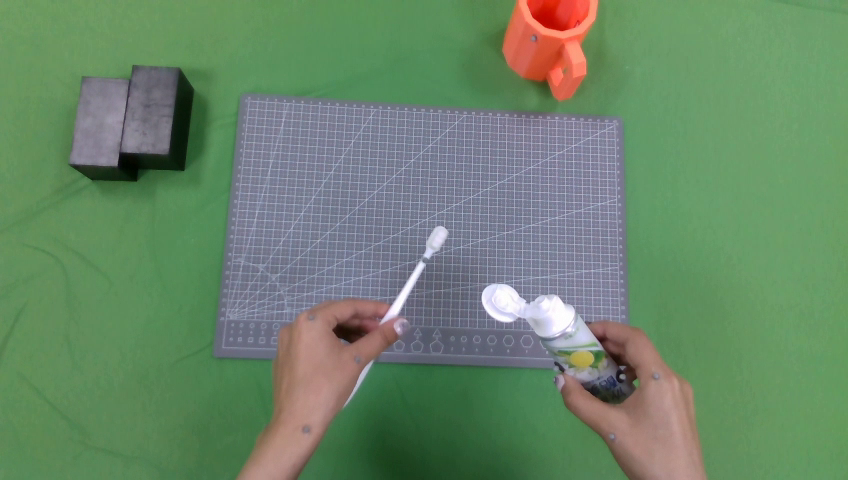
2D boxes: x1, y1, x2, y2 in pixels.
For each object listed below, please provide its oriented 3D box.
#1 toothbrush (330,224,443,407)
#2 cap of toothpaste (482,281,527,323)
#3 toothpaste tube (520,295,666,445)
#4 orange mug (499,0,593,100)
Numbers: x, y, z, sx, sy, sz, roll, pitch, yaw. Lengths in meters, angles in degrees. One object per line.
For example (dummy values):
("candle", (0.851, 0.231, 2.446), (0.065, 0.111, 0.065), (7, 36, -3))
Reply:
("toothbrush", (-0.031, 0.064, 0.524), (0.014, 0.016, 0.181), (32, 84, -10))
("cap of toothpaste", (0.063, 0.047, 0.472), (0.037, 0.011, 0.037), (12, 57, -18))
("toothpaste tube", (0.130, 0.106, 0.486), (0.055, 0.034, 0.166), (-31, 112, 25))
("orange mug", (0.143, -0.230, 0.693), (0.083, 0.101, 0.125), (-18, 75, -7))
